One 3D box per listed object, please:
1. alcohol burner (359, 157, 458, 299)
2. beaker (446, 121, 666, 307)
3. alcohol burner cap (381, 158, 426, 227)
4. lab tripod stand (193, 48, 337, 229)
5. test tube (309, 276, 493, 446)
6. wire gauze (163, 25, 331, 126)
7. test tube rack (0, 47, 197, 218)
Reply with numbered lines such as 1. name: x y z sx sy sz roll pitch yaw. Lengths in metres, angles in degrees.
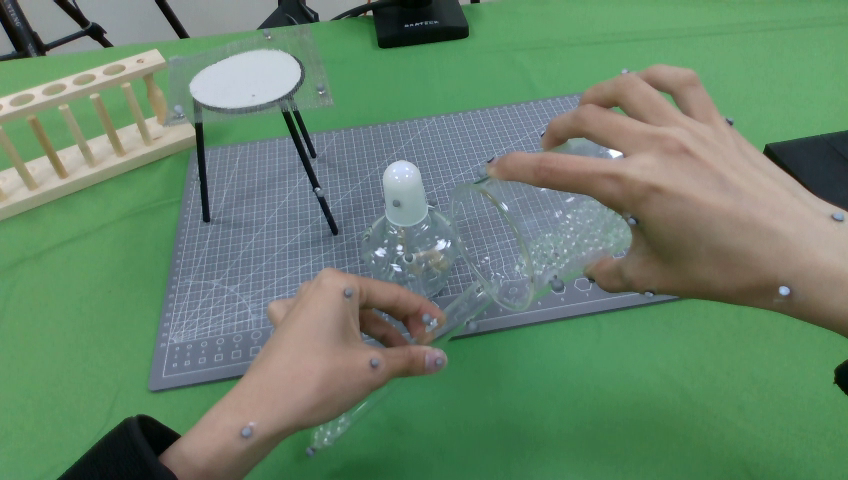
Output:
1. alcohol burner: -0.013 -0.012 0.460 0.078 0.120 0.077 -2 43 2
2. beaker: 0.074 -0.016 0.335 0.100 0.085 0.073 -26 57 -19
3. alcohol burner cap: -0.017 -0.037 0.434 0.034 0.048 0.033 -3 47 4
4. lab tripod stand: -0.139 -0.085 0.528 0.148 0.133 0.147 -3 47 3
5. test tube: -0.017 0.076 0.366 0.150 0.017 0.017 -44 47 12
6. wire gauze: -0.143 -0.132 0.480 0.125 0.011 0.120 -14 46 -7
7. test tube rack: -0.362 -0.104 0.603 0.242 0.086 0.066 -27 49 -21
